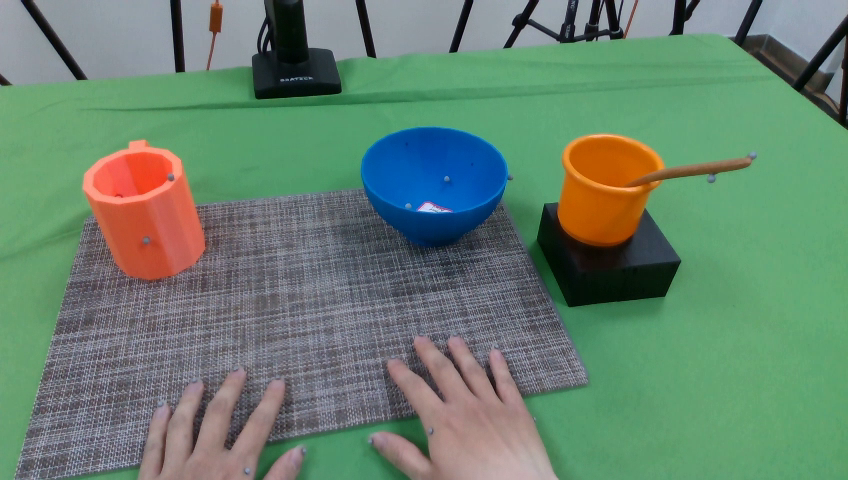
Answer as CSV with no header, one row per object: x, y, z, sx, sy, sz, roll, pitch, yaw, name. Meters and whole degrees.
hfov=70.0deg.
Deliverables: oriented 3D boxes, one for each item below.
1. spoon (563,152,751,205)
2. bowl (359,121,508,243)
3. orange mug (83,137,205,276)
0.192,-0.054,0.529,0.041,0.193,0.021,-28,95,-27,spoon
0.009,-0.051,0.634,0.151,0.077,0.150,2,43,-1,bowl
-0.271,-0.041,0.595,0.084,0.101,0.125,-12,50,-15,orange mug
